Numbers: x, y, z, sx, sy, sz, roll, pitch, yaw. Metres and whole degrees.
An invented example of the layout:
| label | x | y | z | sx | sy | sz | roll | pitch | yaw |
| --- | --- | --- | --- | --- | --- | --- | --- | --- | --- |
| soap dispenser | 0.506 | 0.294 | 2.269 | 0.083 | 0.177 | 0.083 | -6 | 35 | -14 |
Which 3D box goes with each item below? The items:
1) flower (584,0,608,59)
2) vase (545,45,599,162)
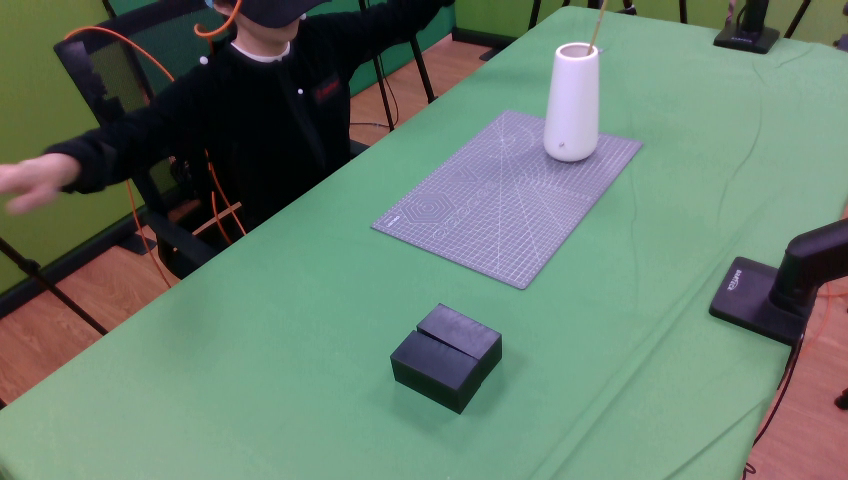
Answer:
| label | x | y | z | sx | sy | sz | roll | pitch | yaw |
| --- | --- | --- | --- | --- | --- | --- | --- | --- | --- |
| flower | 0.274 | -0.306 | 1.025 | 0.038 | 0.362 | 0.044 | 12 | 36 | -1 |
| vase | 0.267 | -0.238 | 1.074 | 0.098 | 0.201 | 0.097 | -4 | 42 | 4 |
